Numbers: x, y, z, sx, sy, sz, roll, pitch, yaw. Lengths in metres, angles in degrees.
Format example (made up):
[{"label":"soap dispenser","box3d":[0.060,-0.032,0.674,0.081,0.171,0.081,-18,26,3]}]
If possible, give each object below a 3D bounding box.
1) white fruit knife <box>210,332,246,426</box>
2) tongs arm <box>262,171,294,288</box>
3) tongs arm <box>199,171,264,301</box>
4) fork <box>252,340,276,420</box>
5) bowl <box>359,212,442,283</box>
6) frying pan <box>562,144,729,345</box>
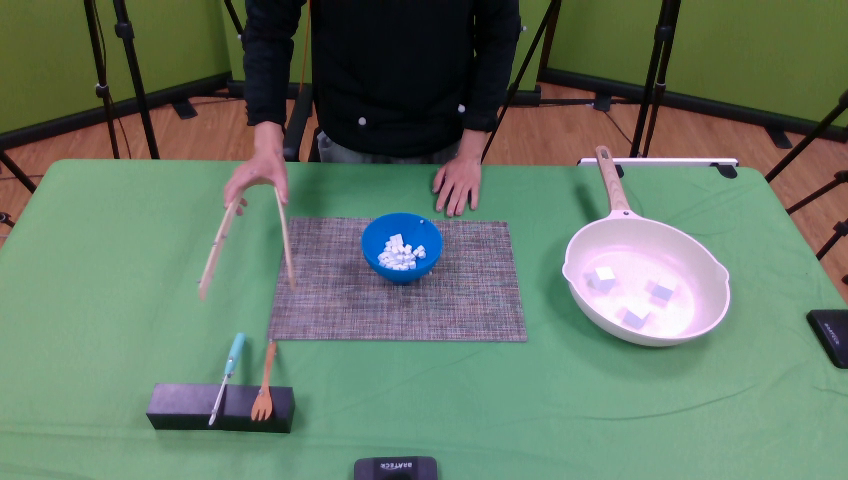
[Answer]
[{"label":"white fruit knife","box3d":[-0.301,0.206,0.930,0.016,0.027,0.206,5,29,-7]},{"label":"tongs arm","box3d":[-0.247,-0.033,1.025,0.028,0.028,0.385,-16,33,-10]},{"label":"tongs arm","box3d":[-0.315,-0.023,1.017,0.051,0.026,0.382,-8,31,-3]},{"label":"fork","box3d":[-0.242,0.211,0.932,0.028,0.019,0.206,-8,27,-5]},{"label":"bowl","box3d":[-0.044,0.026,1.125,0.151,0.077,0.150,2,46,-2]},{"label":"frying pan","box3d":[0.396,-0.008,1.179,0.307,0.103,0.484,1,55,-4]}]
